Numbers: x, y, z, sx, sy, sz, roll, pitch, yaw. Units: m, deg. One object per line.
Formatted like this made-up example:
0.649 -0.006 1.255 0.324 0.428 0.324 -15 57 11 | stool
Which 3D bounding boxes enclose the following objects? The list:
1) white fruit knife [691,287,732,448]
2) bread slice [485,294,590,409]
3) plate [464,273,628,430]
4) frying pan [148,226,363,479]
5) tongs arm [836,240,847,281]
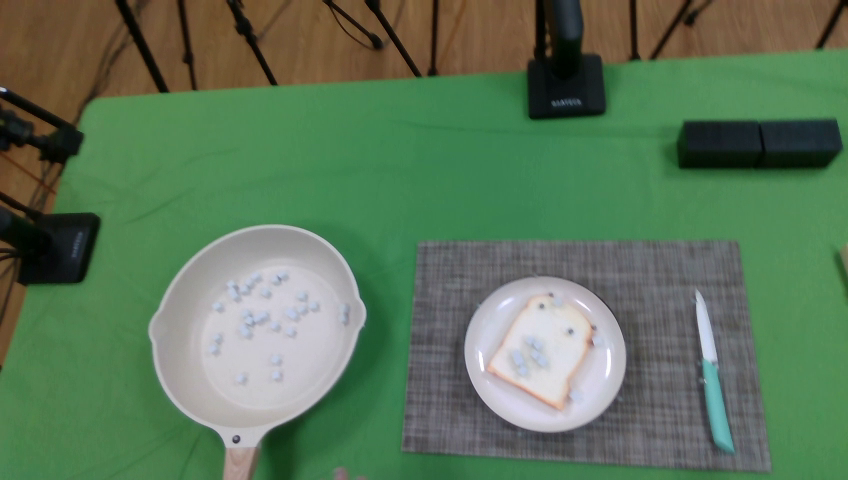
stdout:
0.361 0.156 0.772 0.027 0.016 0.205 11 63 -18 | white fruit knife
0.155 0.139 0.801 0.106 0.018 0.134 23 73 17 | bread slice
0.157 0.146 0.796 0.207 0.039 0.206 -3 65 8 | plate
-0.230 0.209 0.795 0.306 0.104 0.483 -4 57 8 | frying pan
0.575 0.176 0.724 0.028 0.028 0.384 -8 65 3 | tongs arm
